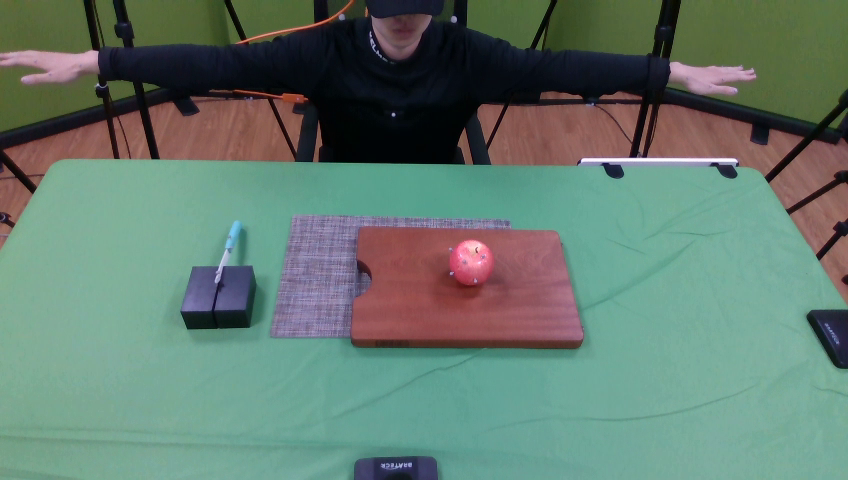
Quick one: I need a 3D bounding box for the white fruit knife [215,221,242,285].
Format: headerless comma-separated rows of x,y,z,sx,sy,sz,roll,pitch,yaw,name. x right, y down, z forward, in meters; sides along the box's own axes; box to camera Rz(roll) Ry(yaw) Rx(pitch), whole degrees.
-0.360,0.019,1.114,0.016,0.027,0.206,-1,32,-5,white fruit knife

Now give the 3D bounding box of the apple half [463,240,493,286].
0.097,0.042,1.093,0.053,0.075,0.080,-3,42,-13,apple half

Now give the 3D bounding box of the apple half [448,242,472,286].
0.059,0.046,1.085,0.033,0.081,0.080,-4,46,-13,apple half
